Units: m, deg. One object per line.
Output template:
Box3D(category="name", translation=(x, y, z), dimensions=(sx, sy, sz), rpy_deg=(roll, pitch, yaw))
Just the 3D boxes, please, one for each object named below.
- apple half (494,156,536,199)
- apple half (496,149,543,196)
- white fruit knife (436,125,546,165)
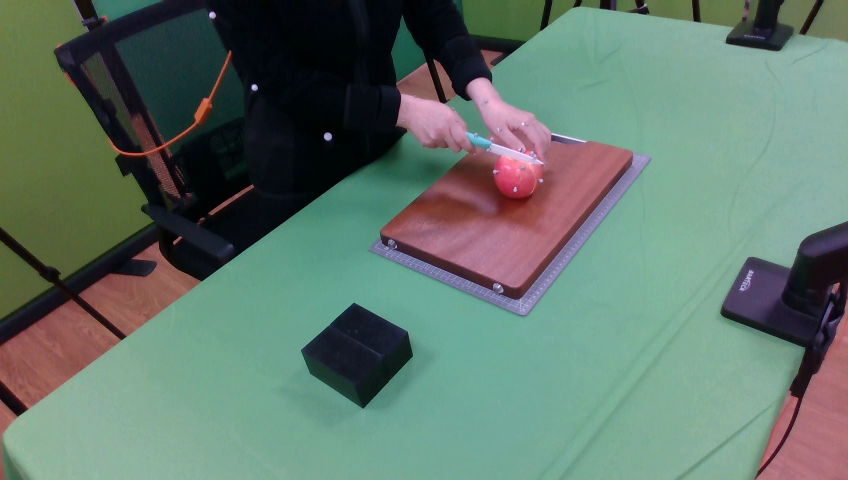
Box3D(category="apple half", translation=(0.143, -0.095, 0.986), dimensions=(0.080, 0.081, 0.033), rpy_deg=(20, 45, 30))
Box3D(category="apple half", translation=(0.164, -0.116, 1.008), dimensions=(0.080, 0.075, 0.053), rpy_deg=(16, 42, 31))
Box3D(category="white fruit knife", translation=(0.105, -0.155, 0.986), dimensions=(0.206, 0.027, 0.016), rpy_deg=(22, 66, 26))
